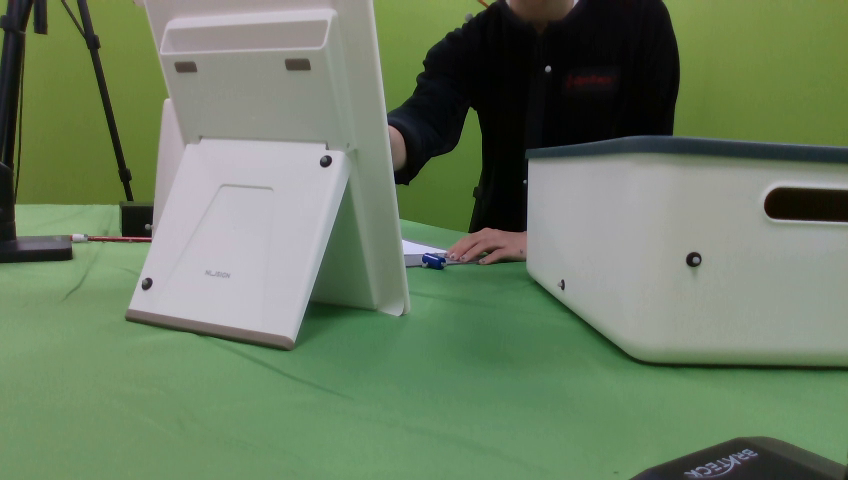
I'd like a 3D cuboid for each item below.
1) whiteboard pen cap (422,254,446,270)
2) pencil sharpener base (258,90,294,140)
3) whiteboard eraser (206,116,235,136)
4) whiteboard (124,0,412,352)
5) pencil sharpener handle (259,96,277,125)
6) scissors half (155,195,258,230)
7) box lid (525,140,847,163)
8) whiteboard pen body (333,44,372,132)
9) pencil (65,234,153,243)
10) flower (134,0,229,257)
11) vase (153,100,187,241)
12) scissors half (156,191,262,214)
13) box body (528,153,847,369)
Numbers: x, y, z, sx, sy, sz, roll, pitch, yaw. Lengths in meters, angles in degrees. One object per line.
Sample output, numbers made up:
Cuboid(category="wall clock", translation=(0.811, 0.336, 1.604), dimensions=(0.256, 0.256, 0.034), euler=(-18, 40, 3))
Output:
Cuboid(category="whiteboard pen cap", translation=(0.013, 0.028, 0.807), dimensions=(0.018, 0.018, 0.033), euler=(-4, 14, -41))
Cuboid(category="pencil sharpener base", translation=(-0.341, -0.285, 1.388), dimensions=(0.062, 0.107, 0.076), euler=(-3, 9, -36))
Cuboid(category="whiteboard eraser", translation=(-0.449, -0.251, 1.335), dimensions=(0.056, 0.042, 0.112), euler=(1, 7, -22))
Cuboid(category="whiteboard", translation=(-0.151, -0.049, 0.471), dimensions=(0.216, 0.305, 0.144), euler=(6, 27, 24))
Cuboid(category="pencil sharpener handle", translation=(-0.373, -0.304, 1.425), dimensions=(0.036, 0.067, 0.030), euler=(13, -1, -37))
Cuboid(category="scissors half", translation=(-0.378, -0.051, 1.058), dimensions=(0.176, 0.040, 0.012), euler=(20, 22, -31))
Cuboid(category="box lid", translation=(0.261, -0.078, 0.580), dimensions=(0.264, 0.015, 0.371), euler=(2, 7, -4))
Cuboid(category="whiteboard pen body", translation=(-0.066, -0.139, 0.546), dimensions=(0.017, 0.017, 0.140), euler=(3, 45, 6))
Cuboid(category="pencil", translation=(-0.429, 0.000, 0.910), dimensions=(0.195, 0.012, 0.012), euler=(2, 7, -19))
Cuboid(category="flower", translation=(-0.282, -0.146, 0.712), dimensions=(0.038, 0.362, 0.044), euler=(-23, 23, -31))
Cuboid(category="vase", translation=(-0.278, -0.066, 0.736), dimensions=(0.098, 0.200, 0.098), euler=(2, 9, 0))
Cuboid(category="scissors half", translation=(-0.371, -0.068, 1.051), dimensions=(0.176, 0.040, 0.013), euler=(2, 25, -24))
Cuboid(category="box body", translation=(0.258, -0.005, 0.591), dimensions=(0.254, 0.160, 0.363), euler=(2, 7, -4))
